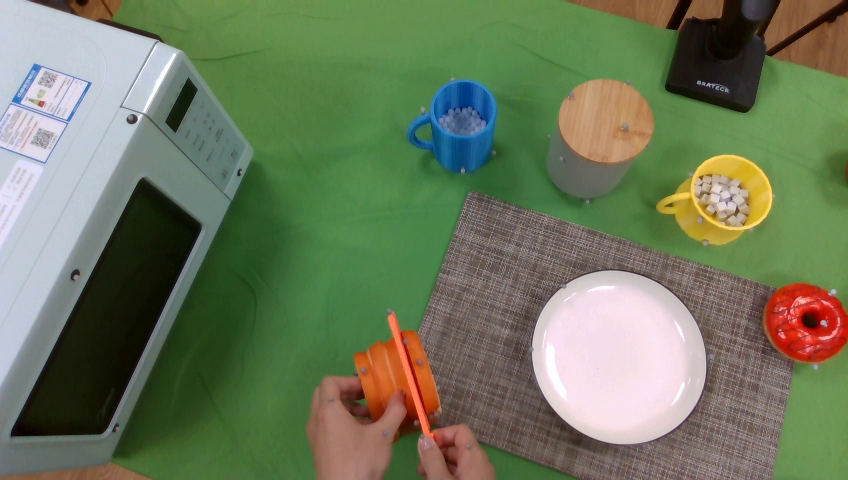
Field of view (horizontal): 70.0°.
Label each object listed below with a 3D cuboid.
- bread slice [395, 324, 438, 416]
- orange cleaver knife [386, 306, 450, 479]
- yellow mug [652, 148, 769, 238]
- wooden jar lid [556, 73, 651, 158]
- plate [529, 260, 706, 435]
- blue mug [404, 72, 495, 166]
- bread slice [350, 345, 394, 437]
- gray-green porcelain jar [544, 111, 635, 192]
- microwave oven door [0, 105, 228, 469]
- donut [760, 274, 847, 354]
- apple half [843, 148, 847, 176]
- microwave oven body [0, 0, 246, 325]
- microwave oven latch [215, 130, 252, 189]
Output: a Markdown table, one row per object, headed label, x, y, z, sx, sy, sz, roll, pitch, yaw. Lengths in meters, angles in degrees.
| label | x | y | z | sx | sy | sz | roll | pitch | yaw |
| --- | --- | --- | --- | --- | --- | --- | --- | --- | --- |
| bread slice | -0.009 | 0.149 | 0.694 | 0.019 | 0.132 | 0.104 | -17 | 74 | -10 |
| orange cleaver knife | -0.006 | 0.164 | 0.628 | 0.012 | 0.077 | 0.210 | -18 | 76 | -5 |
| yellow mug | 0.359 | -0.057 | 0.774 | 0.131 | 0.064 | 0.099 | -5 | 75 | 2 |
| wooden jar lid | 0.207 | -0.142 | 0.706 | 0.108 | 0.021 | 0.107 | 0 | 73 | 2 |
| plate | 0.230 | 0.129 | 0.738 | 0.207 | 0.039 | 0.206 | -1 | 75 | 2 |
| blue mug | 0.031 | -0.153 | 0.789 | 0.116 | 0.106 | 0.082 | -7 | 74 | 0 |
| bread slice | -0.059 | 0.168 | 0.692 | 0.018 | 0.135 | 0.106 | -20 | 71 | -8 |
| gray-green porcelain jar | 0.210 | -0.125 | 0.766 | 0.106 | 0.127 | 0.105 | 0 | 74 | 2 |
| microwave oven door | -0.339 | 0.062 | 0.653 | 0.039 | 0.245 | 0.354 | 19 | 76 | 7 |
| donut | 0.460 | 0.090 | 0.737 | 0.099 | 0.048 | 0.098 | 0 | 75 | 2 |
| apple half | 0.561 | -0.097 | 0.772 | 0.033 | 0.081 | 0.081 | -13 | 74 | -6 |
| microwave oven body | -0.460 | -0.021 | 0.685 | 0.325 | 0.261 | 0.440 | 19 | 77 | 7 |
| microwave oven latch | -0.257 | -0.109 | 0.802 | 0.030 | 0.029 | 0.079 | 22 | 77 | 8 |
